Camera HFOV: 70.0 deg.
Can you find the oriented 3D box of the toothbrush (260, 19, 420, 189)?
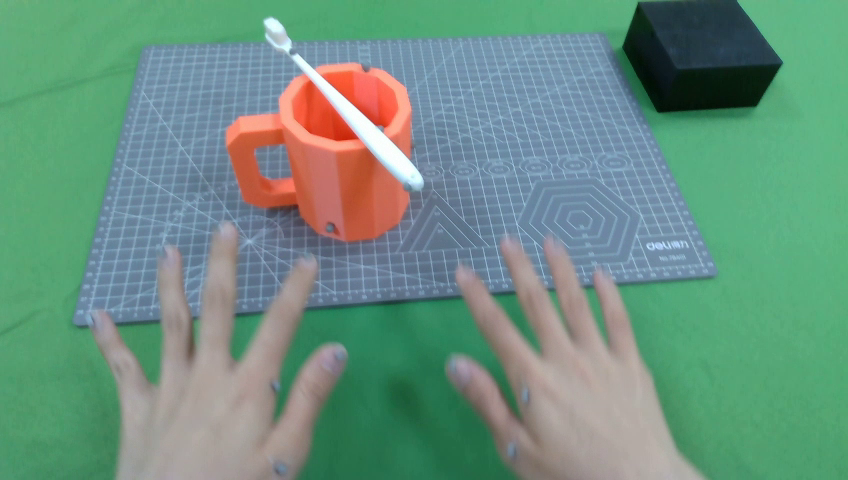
[{"bbox_3d":[-0.059,-0.092,0.389,0.014,0.017,0.180,-30,61,-23],"label":"toothbrush"}]

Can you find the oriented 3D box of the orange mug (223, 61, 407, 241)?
[{"bbox_3d":[-0.073,-0.060,0.429,0.126,0.101,0.082,-6,54,-13],"label":"orange mug"}]
